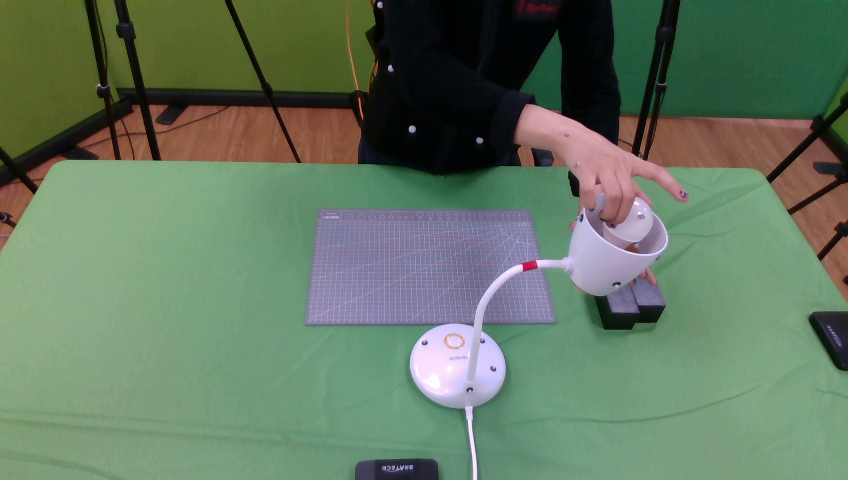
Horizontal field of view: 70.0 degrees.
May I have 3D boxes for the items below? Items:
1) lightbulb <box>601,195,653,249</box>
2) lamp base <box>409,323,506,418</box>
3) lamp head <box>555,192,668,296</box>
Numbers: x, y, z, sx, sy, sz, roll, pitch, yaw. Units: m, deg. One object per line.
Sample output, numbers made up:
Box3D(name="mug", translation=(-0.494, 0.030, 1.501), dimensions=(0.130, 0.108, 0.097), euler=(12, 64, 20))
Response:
Box3D(name="lightbulb", translation=(0.249, -0.009, 0.776), dimensions=(0.059, 0.108, 0.059), euler=(12, 40, -10))
Box3D(name="lamp base", translation=(0.063, 0.161, 0.940), dimensions=(0.161, 0.181, 0.178), euler=(-10, 51, -13))
Box3D(name="lamp head", translation=(0.236, 0.016, 0.794), dimensions=(0.113, 0.123, 0.111), euler=(14, 43, -13))
